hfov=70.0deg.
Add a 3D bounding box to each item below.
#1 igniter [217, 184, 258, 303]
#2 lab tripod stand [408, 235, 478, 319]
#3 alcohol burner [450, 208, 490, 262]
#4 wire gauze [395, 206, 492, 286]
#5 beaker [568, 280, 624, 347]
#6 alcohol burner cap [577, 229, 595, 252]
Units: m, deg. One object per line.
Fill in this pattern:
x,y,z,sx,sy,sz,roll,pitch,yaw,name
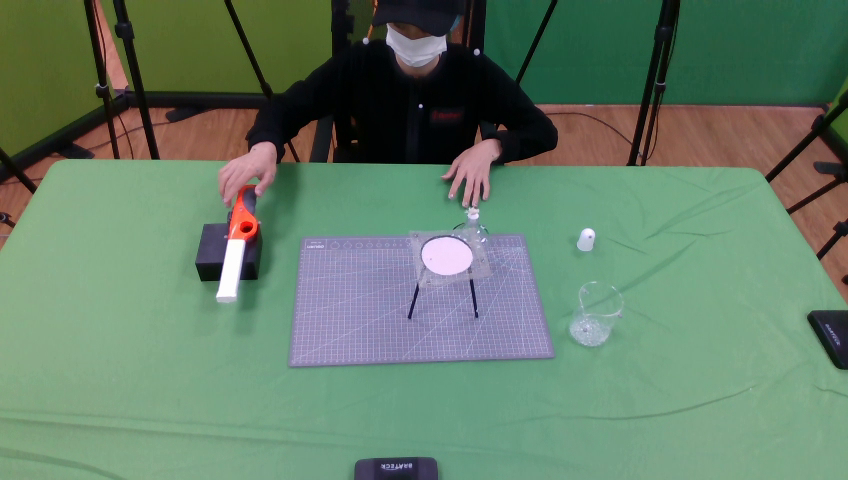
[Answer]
-0.339,-0.003,1.106,0.057,0.025,0.274,1,49,-6,igniter
0.032,0.065,1.057,0.148,0.132,0.147,1,45,-1,lab tripod stand
0.088,-0.015,1.153,0.078,0.120,0.077,1,47,-1,alcohol burner
0.031,0.010,0.993,0.125,0.011,0.120,-25,57,-17,wire gauze
0.290,0.132,1.040,0.084,0.101,0.073,-34,57,-31,beaker
0.326,-0.002,1.213,0.034,0.048,0.033,1,47,-1,alcohol burner cap
